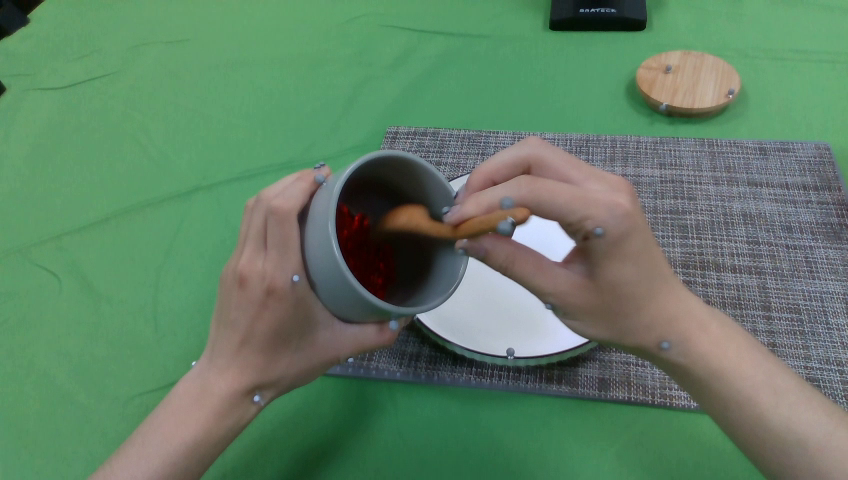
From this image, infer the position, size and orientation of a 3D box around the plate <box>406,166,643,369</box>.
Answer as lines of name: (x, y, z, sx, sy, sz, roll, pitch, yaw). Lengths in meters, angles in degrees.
plate: (0.075, 0.021, 0.514, 0.207, 0.039, 0.205, -3, 49, 4)

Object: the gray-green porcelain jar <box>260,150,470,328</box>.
gray-green porcelain jar: (-0.048, 0.007, 0.423, 0.126, 0.106, 0.105, -18, 31, 52)

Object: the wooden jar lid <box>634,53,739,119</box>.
wooden jar lid: (0.287, -0.169, 0.666, 0.108, 0.021, 0.107, -3, 50, 4)

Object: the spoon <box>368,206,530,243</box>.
spoon: (0.009, -0.007, 0.340, 0.042, 0.022, 0.192, -19, 9, -21)
